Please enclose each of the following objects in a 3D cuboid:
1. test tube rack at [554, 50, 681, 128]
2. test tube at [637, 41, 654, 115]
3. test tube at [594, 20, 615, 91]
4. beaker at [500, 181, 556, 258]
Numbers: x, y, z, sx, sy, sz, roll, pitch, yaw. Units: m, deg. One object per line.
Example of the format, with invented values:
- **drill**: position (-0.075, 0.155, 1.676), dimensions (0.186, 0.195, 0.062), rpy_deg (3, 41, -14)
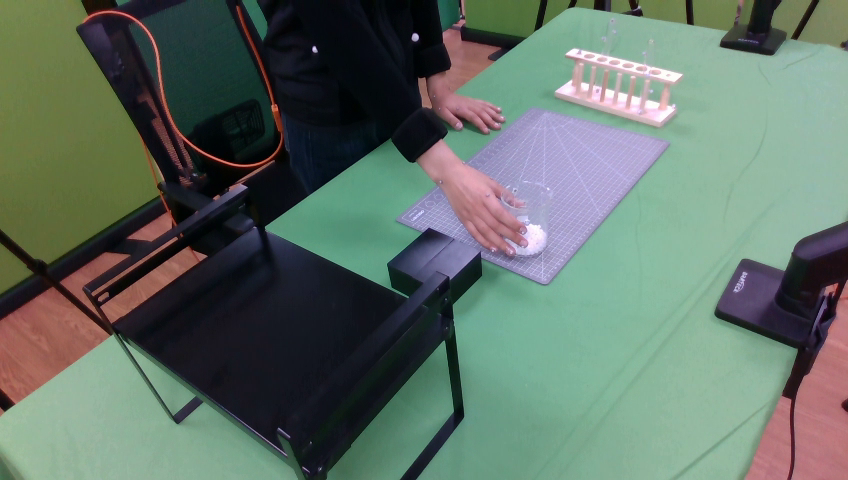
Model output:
- **test tube rack**: position (0.387, -0.311, 1.234), dimensions (0.240, 0.085, 0.067), rpy_deg (28, 51, 34)
- **test tube**: position (0.423, -0.307, 1.154), dimensions (0.017, 0.151, 0.017), rpy_deg (-5, 41, 5)
- **test tube**: position (0.366, -0.372, 1.233), dimensions (0.017, 0.151, 0.017), rpy_deg (0, 43, 0)
- **beaker**: position (0.158, -0.030, 0.923), dimensions (0.084, 0.100, 0.073), rpy_deg (-13, 41, -8)
